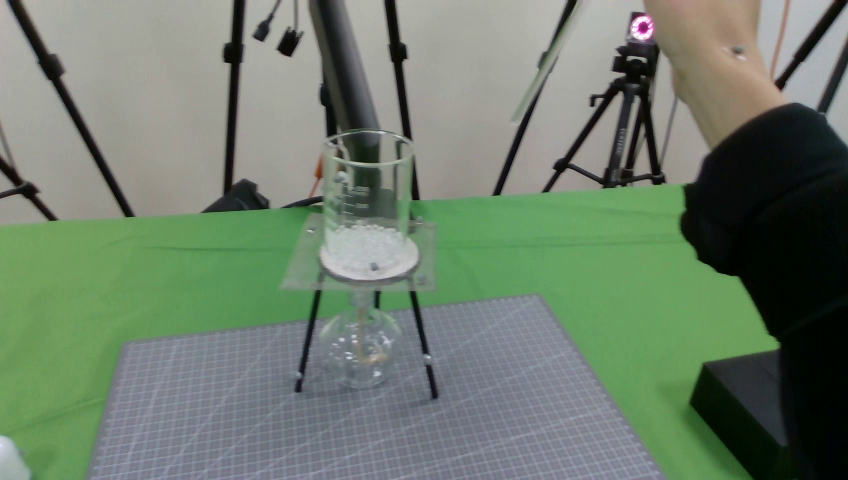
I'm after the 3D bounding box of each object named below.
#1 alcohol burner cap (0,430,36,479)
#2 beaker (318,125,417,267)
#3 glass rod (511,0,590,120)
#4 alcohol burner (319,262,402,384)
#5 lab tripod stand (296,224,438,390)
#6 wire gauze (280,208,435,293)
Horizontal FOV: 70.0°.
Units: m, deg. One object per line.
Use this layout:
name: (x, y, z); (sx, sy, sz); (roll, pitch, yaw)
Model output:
alcohol burner cap: (-0.319, 0.165, 0.457); (0.034, 0.048, 0.033); (2, 31, -1)
beaker: (-0.050, -0.036, 0.498); (0.083, 0.101, 0.074); (23, 36, 28)
glass rod: (0.106, -0.159, 0.383); (0.008, 0.200, 0.008); (20, 36, -15)
alcohol burner: (-0.059, 0.073, 0.558); (0.078, 0.120, 0.077); (1, 29, 0)
lab tripod stand: (-0.047, 0.063, 0.556); (0.148, 0.132, 0.147); (4, 30, -2)
wire gauze: (-0.051, 0.007, 0.521); (0.121, 0.011, 0.124); (2, 33, -1)
